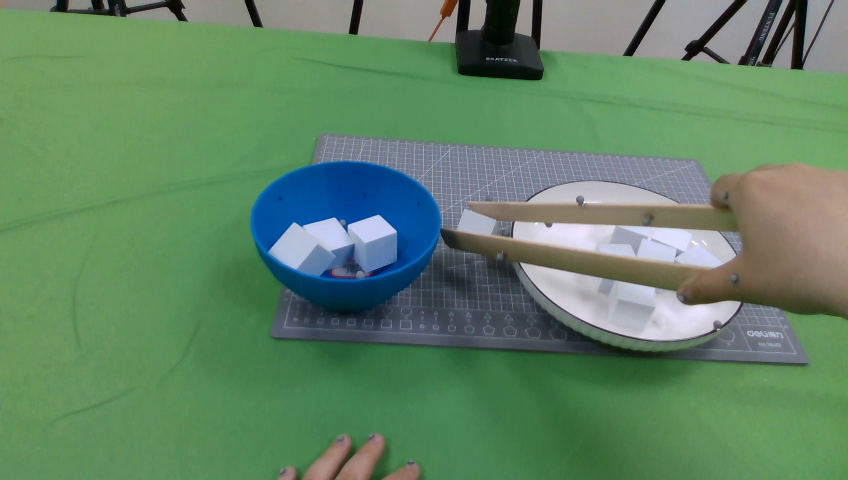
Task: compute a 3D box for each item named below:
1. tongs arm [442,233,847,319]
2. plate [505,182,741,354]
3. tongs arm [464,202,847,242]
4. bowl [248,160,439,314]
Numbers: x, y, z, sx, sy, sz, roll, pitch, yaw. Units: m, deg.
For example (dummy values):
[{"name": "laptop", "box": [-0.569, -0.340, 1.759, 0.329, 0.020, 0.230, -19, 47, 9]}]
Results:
[{"name": "tongs arm", "box": [0.157, 0.018, 0.403, 0.384, 0.028, 0.028, 7, 47, 45]}, {"name": "plate", "box": [0.175, 0.024, 0.551, 0.208, 0.039, 0.205, 4, 42, -3]}, {"name": "tongs arm", "box": [0.172, -0.002, 0.415, 0.382, 0.027, 0.050, 3, 48, 43]}, {"name": "bowl", "box": [-0.066, 0.008, 0.505, 0.151, 0.077, 0.150, 4, 42, -3]}]
